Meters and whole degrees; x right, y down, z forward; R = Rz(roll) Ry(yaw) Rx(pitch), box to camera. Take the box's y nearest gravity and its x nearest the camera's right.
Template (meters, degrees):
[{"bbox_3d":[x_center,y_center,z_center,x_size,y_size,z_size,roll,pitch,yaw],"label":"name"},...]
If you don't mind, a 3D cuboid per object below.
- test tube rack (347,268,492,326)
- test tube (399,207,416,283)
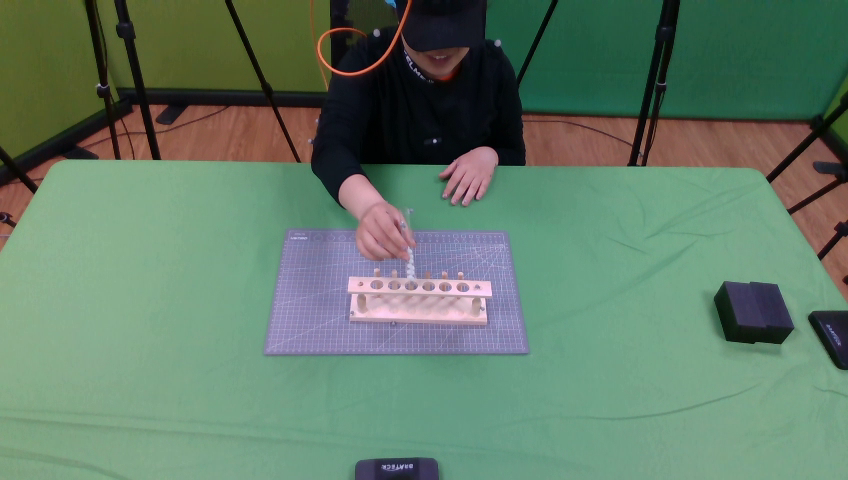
[{"bbox_3d":[-0.009,0.095,1.059,0.242,0.085,0.066,2,46,-2],"label":"test tube rack"},{"bbox_3d":[-0.026,0.011,0.956,0.017,0.151,0.017,-3,40,2],"label":"test tube"}]
